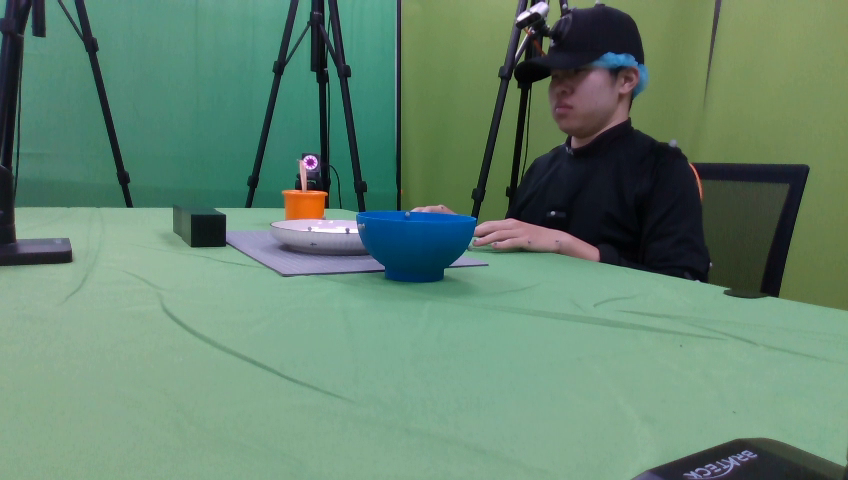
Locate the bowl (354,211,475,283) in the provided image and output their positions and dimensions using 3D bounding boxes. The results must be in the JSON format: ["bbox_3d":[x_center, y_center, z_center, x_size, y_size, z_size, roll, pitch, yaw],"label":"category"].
[{"bbox_3d":[-0.013,0.008,0.749,0.151,0.077,0.151,2,7,0],"label":"bowl"}]

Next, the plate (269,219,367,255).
[{"bbox_3d":[-0.140,-0.006,0.958,0.209,0.038,0.209,3,7,0],"label":"plate"}]

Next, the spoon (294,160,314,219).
[{"bbox_3d":[-0.253,-0.102,1.270,0.042,0.193,0.021,3,-38,-17],"label":"spoon"}]

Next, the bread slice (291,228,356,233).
[{"bbox_3d":[-0.143,-0.003,0.953,0.135,0.018,0.106,-1,8,-37],"label":"bread slice"}]
